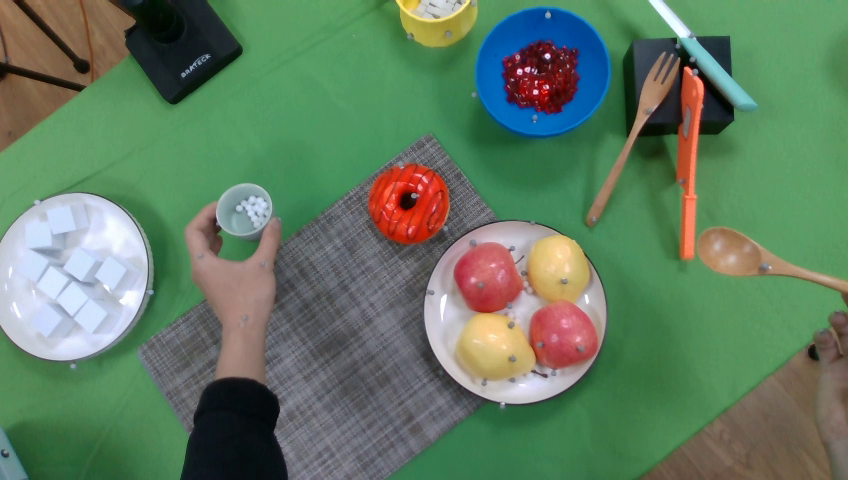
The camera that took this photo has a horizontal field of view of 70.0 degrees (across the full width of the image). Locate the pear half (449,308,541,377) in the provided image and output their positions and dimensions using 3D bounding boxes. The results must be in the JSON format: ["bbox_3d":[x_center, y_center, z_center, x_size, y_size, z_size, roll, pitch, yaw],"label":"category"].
[{"bbox_3d":[0.086,0.122,0.677,0.110,0.056,0.076,26,90,0],"label":"pear half"}]

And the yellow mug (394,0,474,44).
[{"bbox_3d":[-0.004,-0.307,0.743,0.130,0.064,0.100,20,85,8],"label":"yellow mug"}]

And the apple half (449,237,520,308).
[{"bbox_3d":[0.067,0.037,0.685,0.074,0.053,0.080,-19,85,3],"label":"apple half"}]

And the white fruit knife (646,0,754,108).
[{"bbox_3d":[0.295,-0.228,0.684,0.027,0.016,0.206,-30,78,-29],"label":"white fruit knife"}]

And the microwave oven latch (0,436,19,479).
[{"bbox_3d":[-0.511,0.247,0.709,0.030,0.029,0.079,-33,82,-1],"label":"microwave oven latch"}]

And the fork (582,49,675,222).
[{"bbox_3d":[0.227,-0.114,0.688,0.028,0.018,0.208,22,105,0],"label":"fork"}]

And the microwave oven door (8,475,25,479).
[{"bbox_3d":[-0.400,0.413,0.575,0.039,0.244,0.354,-34,81,-1],"label":"microwave oven door"}]

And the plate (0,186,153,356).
[{"bbox_3d":[-0.430,0.038,0.749,0.207,0.039,0.207,-1,83,5],"label":"plate"}]

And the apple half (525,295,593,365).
[{"bbox_3d":[0.143,0.102,0.671,0.081,0.033,0.081,2,94,25],"label":"apple half"}]

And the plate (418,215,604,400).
[{"bbox_3d":[0.098,0.076,0.695,0.209,0.038,0.208,-1,82,5],"label":"plate"}]

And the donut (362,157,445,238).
[{"bbox_3d":[-0.024,-0.050,0.719,0.099,0.048,0.099,-1,85,7],"label":"donut"}]

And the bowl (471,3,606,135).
[{"bbox_3d":[0.130,-0.188,0.711,0.151,0.077,0.151,-1,83,4],"label":"bowl"}]

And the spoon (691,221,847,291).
[{"bbox_3d":[0.319,0.028,0.499,0.192,0.022,0.041,21,80,24],"label":"spoon"}]

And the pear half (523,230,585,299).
[{"bbox_3d":[0.144,0.034,0.682,0.070,0.031,0.088,-8,92,27],"label":"pear half"}]

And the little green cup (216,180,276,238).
[{"bbox_3d":[-0.196,-0.032,0.678,0.061,0.039,0.061,-1,73,3],"label":"little green cup"}]

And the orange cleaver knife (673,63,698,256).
[{"bbox_3d":[0.291,-0.089,0.682,0.012,0.077,0.212,-1,108,10],"label":"orange cleaver knife"}]
